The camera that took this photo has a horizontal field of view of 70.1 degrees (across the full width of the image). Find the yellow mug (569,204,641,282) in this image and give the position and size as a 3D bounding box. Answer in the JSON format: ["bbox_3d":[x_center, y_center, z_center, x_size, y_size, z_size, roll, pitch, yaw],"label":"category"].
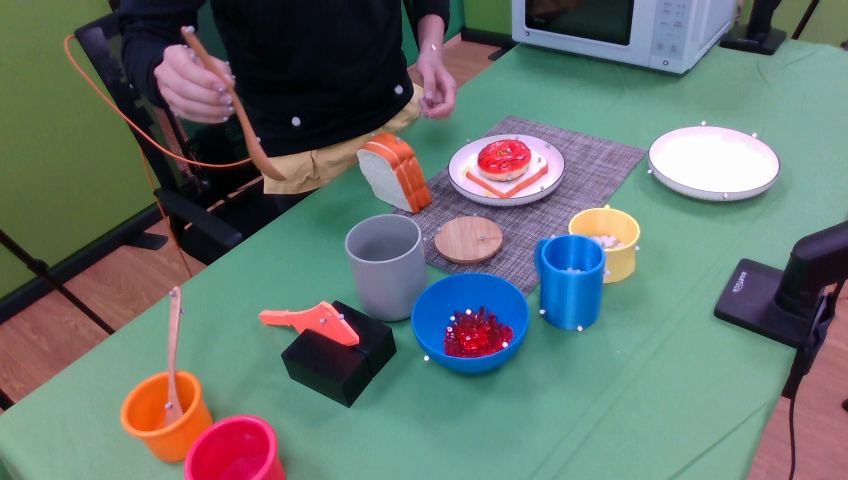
[{"bbox_3d":[0.268,-0.005,0.904,0.099,0.064,0.130,7,41,15],"label":"yellow mug"}]

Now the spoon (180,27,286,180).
[{"bbox_3d":[-0.201,-0.138,0.646,0.022,0.195,0.041,-40,40,-22],"label":"spoon"}]

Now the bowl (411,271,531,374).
[{"bbox_3d":[0.062,0.119,0.780,0.151,0.077,0.150,-4,40,4],"label":"bowl"}]

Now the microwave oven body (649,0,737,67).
[{"bbox_3d":[0.475,-0.602,1.411,0.438,0.261,0.327,23,50,32],"label":"microwave oven body"}]

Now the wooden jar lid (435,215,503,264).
[{"bbox_3d":[0.071,0.001,0.956,0.108,0.021,0.108,-4,40,4],"label":"wooden jar lid"}]

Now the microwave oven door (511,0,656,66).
[{"bbox_3d":[0.350,-0.539,1.348,0.353,0.245,0.039,24,50,31],"label":"microwave oven door"}]

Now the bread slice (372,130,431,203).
[{"bbox_3d":[-0.042,-0.127,1.038,0.106,0.135,0.018,29,62,33],"label":"bread slice"}]

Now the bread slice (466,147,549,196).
[{"bbox_3d":[0.156,-0.129,1.085,0.132,0.019,0.104,-34,48,-23],"label":"bread slice"}]

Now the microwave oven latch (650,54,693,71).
[{"bbox_3d":[0.531,-0.386,1.301,0.078,0.029,0.030,26,51,33],"label":"microwave oven latch"}]

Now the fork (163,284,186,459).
[{"bbox_3d":[-0.302,0.157,0.733,0.028,0.019,0.207,-3,84,15],"label":"fork"}]

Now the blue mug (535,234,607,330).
[{"bbox_3d":[0.191,0.048,0.824,0.082,0.106,0.115,-26,44,-20],"label":"blue mug"}]

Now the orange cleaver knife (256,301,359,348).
[{"bbox_3d":[-0.160,0.115,0.813,0.210,0.077,0.012,-9,29,48],"label":"orange cleaver knife"}]

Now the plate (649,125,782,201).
[{"bbox_3d":[0.493,-0.127,1.036,0.207,0.039,0.206,-4,41,4],"label":"plate"}]

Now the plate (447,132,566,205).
[{"bbox_3d":[0.146,-0.124,1.076,0.209,0.038,0.208,-4,41,4],"label":"plate"}]

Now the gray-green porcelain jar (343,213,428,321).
[{"bbox_3d":[-0.049,0.042,0.849,0.106,0.127,0.105,-4,41,4],"label":"gray-green porcelain jar"}]

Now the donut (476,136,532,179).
[{"bbox_3d":[0.140,-0.146,1.058,0.099,0.048,0.098,-6,41,6],"label":"donut"}]
